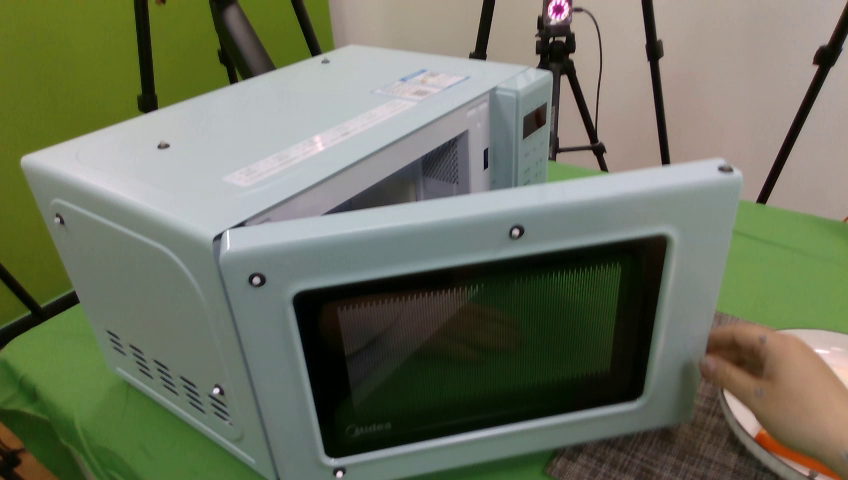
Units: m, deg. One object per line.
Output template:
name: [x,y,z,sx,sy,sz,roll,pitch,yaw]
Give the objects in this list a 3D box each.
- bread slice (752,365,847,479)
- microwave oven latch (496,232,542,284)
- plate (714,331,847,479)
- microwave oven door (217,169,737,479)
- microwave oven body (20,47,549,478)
bread slice: [0.360,0.159,0.531,0.104,0.019,0.131,19,38,34]
microwave oven latch: [0.120,0.022,0.762,0.030,0.030,0.079,19,38,33]
plate: [0.363,0.158,0.528,0.209,0.038,0.207,-3,30,2]
microwave oven door: [0.049,0.081,0.467,0.356,0.246,0.039,-8,31,-7]
microwave oven body: [-0.110,-0.020,0.668,0.323,0.262,0.441,18,38,32]
